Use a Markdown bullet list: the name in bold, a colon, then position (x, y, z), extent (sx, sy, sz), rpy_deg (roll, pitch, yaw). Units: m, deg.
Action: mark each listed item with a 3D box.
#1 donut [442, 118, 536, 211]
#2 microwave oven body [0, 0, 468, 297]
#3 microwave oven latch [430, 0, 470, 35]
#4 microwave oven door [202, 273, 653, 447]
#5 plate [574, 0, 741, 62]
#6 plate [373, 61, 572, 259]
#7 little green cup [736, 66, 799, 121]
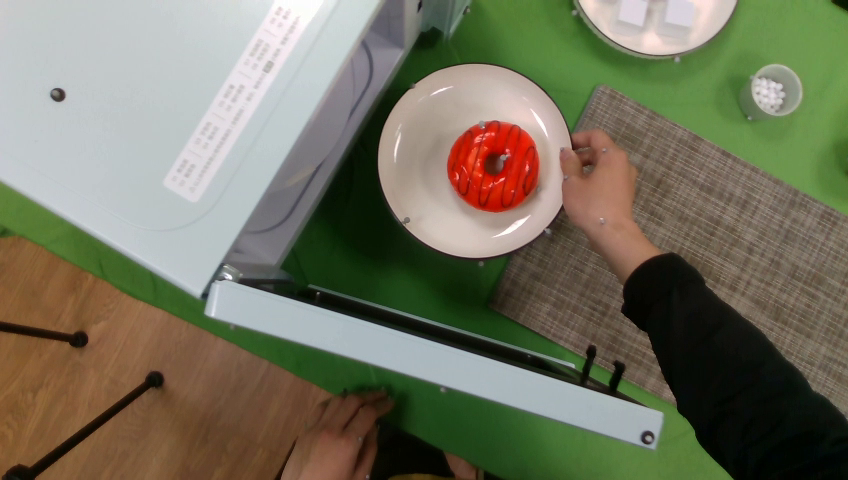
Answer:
- **donut**: position (0.069, -0.078, 0.635), extent (0.099, 0.048, 0.099), rpy_deg (0, 89, 1)
- **microwave oven body**: position (-0.176, -0.206, 0.581), extent (0.326, 0.260, 0.441), rpy_deg (31, 87, -1)
- **microwave oven latch**: position (0.037, -0.277, 0.691), extent (0.030, 0.029, 0.079), rpy_deg (35, 87, -1)
- **microwave oven door**: position (0.002, 0.100, 0.571), extent (0.356, 0.244, 0.039), rpy_deg (17, 86, -2)
- **plate**: position (0.273, -0.312, 0.724), extent (0.208, 0.039, 0.207), rpy_deg (0, 87, -3)
- **plate**: position (0.050, -0.084, 0.646), extent (0.209, 0.038, 0.209), rpy_deg (0, 88, 0)
- **little green cup**: position (0.408, -0.172, 0.725), extent (0.061, 0.038, 0.061), rpy_deg (0, 87, -3)
